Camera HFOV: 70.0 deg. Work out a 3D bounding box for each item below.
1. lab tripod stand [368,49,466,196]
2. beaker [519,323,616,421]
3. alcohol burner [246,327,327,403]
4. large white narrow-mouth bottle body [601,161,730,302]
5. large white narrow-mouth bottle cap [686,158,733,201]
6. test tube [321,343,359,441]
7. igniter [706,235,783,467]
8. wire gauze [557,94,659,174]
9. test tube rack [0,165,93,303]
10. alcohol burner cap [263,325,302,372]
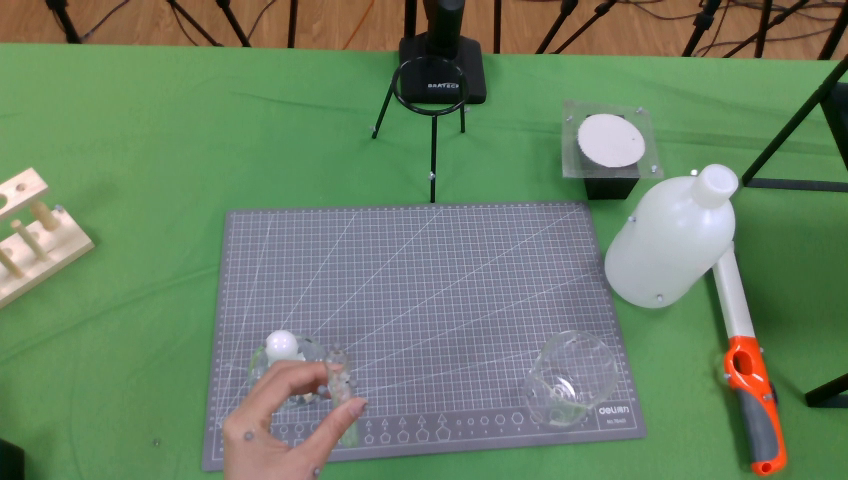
[{"bbox_3d":[0.000,-0.149,0.739,0.148,0.132,0.147,3,61,-5],"label":"lab tripod stand"},{"bbox_3d":[0.136,0.137,0.606,0.084,0.101,0.073,-5,60,-7],"label":"beaker"},{"bbox_3d":[-0.134,0.115,0.585,0.078,0.120,0.077,3,59,-5],"label":"alcohol burner"},{"bbox_3d":[0.266,-0.015,0.652,0.102,0.196,0.101,2,60,-3],"label":"large white narrow-mouth bottle body"},{"bbox_3d":[0.271,-0.059,0.579,0.038,0.024,0.037,2,60,-3],"label":"large white narrow-mouth bottle cap"},{"bbox_3d":[-0.058,0.114,0.432,0.017,0.151,0.017,1,54,-1],"label":"test tube"},{"bbox_3d":[0.356,0.114,0.685,0.057,0.025,0.274,9,59,-12],"label":"igniter"},{"bbox_3d":[0.229,-0.134,0.767,0.121,0.011,0.124,5,60,-3],"label":"wire gauze"},{"bbox_3d":[-0.482,0.033,0.617,0.066,0.086,0.242,42,65,17],"label":"test tube rack"},{"bbox_3d":[-0.131,0.097,0.554,0.034,0.048,0.033,1,55,-1],"label":"alcohol burner cap"}]
